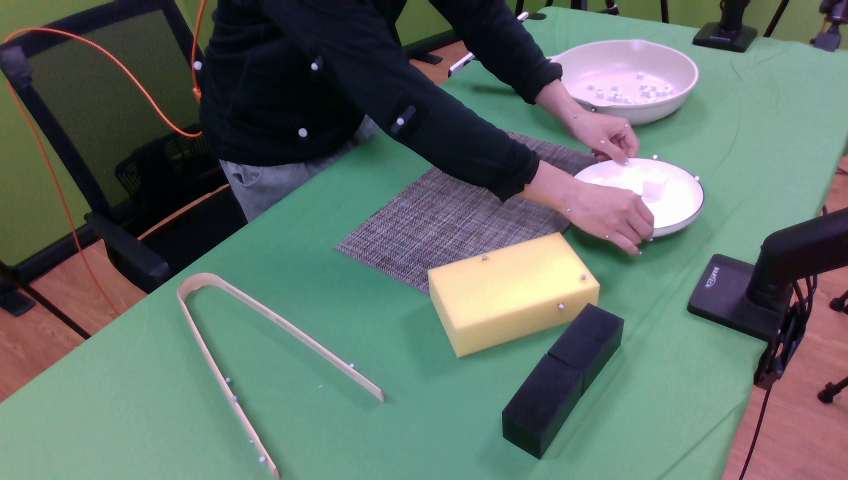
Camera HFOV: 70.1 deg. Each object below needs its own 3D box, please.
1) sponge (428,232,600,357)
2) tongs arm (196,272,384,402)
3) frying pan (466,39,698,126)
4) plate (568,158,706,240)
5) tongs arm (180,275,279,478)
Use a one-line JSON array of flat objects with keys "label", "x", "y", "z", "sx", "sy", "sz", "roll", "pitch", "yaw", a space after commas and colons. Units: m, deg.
[{"label": "sponge", "x": 0.120, "y": 0.071, "z": 0.834, "sx": 0.207, "sy": 0.061, "sz": 0.117, "roll": -15, "pitch": 43, "yaw": -12}, {"label": "tongs arm", "x": -0.198, "y": 0.125, "z": 0.846, "sx": 0.384, "sy": 0.028, "sz": 0.028, "roll": 25, "pitch": 53, "yaw": 33}, {"label": "frying pan", "x": 0.312, "y": -0.359, "z": 1.277, "sx": 0.485, "sy": 0.103, "sz": 0.307, "roll": 23, "pitch": 47, "yaw": 19}, {"label": "plate", "x": 0.337, "y": -0.063, "z": 0.968, "sx": 0.207, "sy": 0.039, "sz": 0.206, "roll": -6, "pitch": 37, "yaw": 5}, {"label": "tongs arm", "x": -0.259, "y": 0.161, "z": 0.807, "sx": 0.051, "sy": 0.026, "sz": 0.381, "roll": -29, "pitch": 44, "yaw": -24}]
